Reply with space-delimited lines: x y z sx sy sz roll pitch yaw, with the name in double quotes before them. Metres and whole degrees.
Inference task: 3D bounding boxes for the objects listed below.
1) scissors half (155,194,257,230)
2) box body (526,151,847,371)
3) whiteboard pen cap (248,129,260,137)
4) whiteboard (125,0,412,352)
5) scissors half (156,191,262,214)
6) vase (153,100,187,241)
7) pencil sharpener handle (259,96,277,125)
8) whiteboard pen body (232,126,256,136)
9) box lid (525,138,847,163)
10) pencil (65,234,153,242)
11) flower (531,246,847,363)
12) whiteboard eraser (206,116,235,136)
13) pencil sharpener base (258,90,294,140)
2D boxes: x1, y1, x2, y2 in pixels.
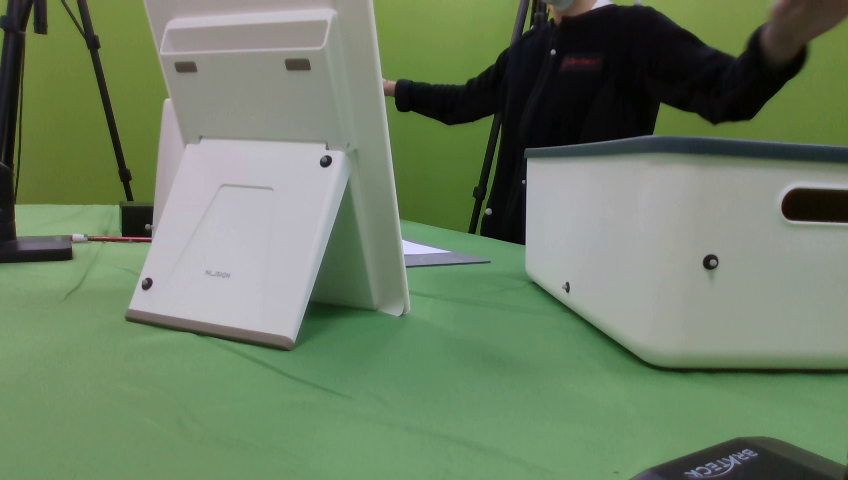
"scissors half" -0.378 -0.051 1.058 0.176 0.040 0.012 20 22 -31
"box body" 0.259 -0.004 0.584 0.255 0.160 0.363 2 7 -6
"whiteboard pen cap" -0.373 -0.235 1.326 0.018 0.018 0.033 -3 12 -35
"whiteboard" -0.151 -0.049 0.472 0.216 0.305 0.144 6 27 24
"scissors half" -0.371 -0.069 1.051 0.176 0.040 0.013 2 25 -24
"vase" -0.278 -0.066 0.736 0.098 0.200 0.098 2 9 0
"pencil sharpener handle" -0.373 -0.304 1.425 0.036 0.067 0.030 13 -1 -37
"whiteboard pen body" -0.407 -0.247 1.372 0.017 0.017 0.140 -3 13 -35
"box lid" 0.262 -0.076 0.573 0.264 0.015 0.371 2 7 -6
"pencil" -0.429 -0.001 0.911 0.195 0.012 0.012 1 8 -19
"flower" 0.251 0.063 0.602 0.359 0.038 0.044 20 -13 49
"whiteboard eraser" -0.449 -0.251 1.335 0.056 0.042 0.112 1 7 -22
"pencil sharpener base" -0.341 -0.285 1.388 0.062 0.107 0.076 -3 9 -36
